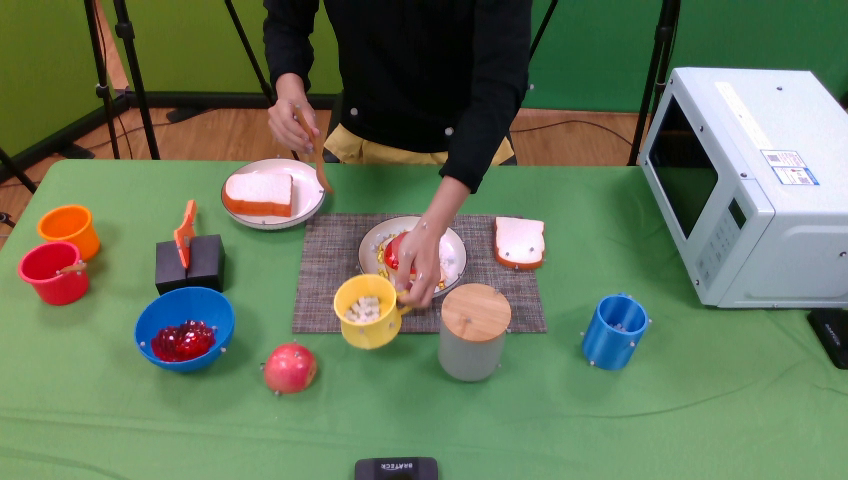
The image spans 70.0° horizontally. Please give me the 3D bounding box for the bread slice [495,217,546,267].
[{"bbox_3d":[0.194,0.002,1.205,0.105,0.019,0.131,5,45,3],"label":"bread slice"}]

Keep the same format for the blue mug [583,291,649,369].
[{"bbox_3d":[0.324,0.142,1.023,0.082,0.106,0.116,15,47,11],"label":"blue mug"}]

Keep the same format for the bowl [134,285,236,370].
[{"bbox_3d":[-0.377,0.155,0.981,0.151,0.077,0.150,2,46,-2],"label":"bowl"}]

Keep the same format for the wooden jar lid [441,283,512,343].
[{"bbox_3d":[0.080,0.114,0.931,0.108,0.021,0.107,1,49,-1],"label":"wooden jar lid"}]

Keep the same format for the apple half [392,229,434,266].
[{"bbox_3d":[-0.020,0.005,1.083,0.081,0.033,0.081,6,48,-7],"label":"apple half"}]

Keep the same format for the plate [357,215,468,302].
[{"bbox_3d":[-0.022,0.037,1.142,0.208,0.039,0.206,2,47,-2],"label":"plate"}]

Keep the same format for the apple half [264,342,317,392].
[{"bbox_3d":[-0.214,0.198,0.970,0.074,0.053,0.080,19,48,10],"label":"apple half"}]

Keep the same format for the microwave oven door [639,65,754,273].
[{"bbox_3d":[0.522,-0.147,1.193,0.039,0.245,0.353,0,47,-3],"label":"microwave oven door"}]

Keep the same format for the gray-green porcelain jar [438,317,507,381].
[{"bbox_3d":[0.076,0.158,0.977,0.106,0.127,0.105,2,47,-2],"label":"gray-green porcelain jar"}]

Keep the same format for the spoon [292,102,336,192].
[{"bbox_3d":[-0.186,-0.153,1.025,0.021,0.195,0.041,-30,47,-17],"label":"spoon"}]

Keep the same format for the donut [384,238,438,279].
[{"bbox_3d":[-0.024,0.030,1.109,0.099,0.048,0.098,3,44,-3],"label":"donut"}]

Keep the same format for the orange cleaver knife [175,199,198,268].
[{"bbox_3d":[-0.438,-0.017,1.138,0.012,0.077,0.210,-14,27,-7],"label":"orange cleaver knife"}]

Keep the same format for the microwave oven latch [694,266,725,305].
[{"bbox_3d":[0.523,0.082,1.115,0.030,0.029,0.078,3,46,0],"label":"microwave oven latch"}]

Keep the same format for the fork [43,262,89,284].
[{"bbox_3d":[-0.599,0.053,1.013,0.207,0.019,0.028,-14,30,45],"label":"fork"}]

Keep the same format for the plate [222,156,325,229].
[{"bbox_3d":[-0.308,-0.095,1.251,0.209,0.038,0.208,2,47,-2],"label":"plate"}]

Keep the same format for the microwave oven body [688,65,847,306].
[{"bbox_3d":[0.669,-0.111,1.176,0.326,0.261,0.439,0,46,-3],"label":"microwave oven body"}]

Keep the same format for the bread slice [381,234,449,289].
[{"bbox_3d":[-0.027,0.039,1.140,0.107,0.018,0.133,-12,49,-16],"label":"bread slice"}]

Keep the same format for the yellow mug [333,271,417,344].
[{"bbox_3d":[-0.074,0.102,0.964,0.131,0.064,0.099,-15,48,-8],"label":"yellow mug"}]
